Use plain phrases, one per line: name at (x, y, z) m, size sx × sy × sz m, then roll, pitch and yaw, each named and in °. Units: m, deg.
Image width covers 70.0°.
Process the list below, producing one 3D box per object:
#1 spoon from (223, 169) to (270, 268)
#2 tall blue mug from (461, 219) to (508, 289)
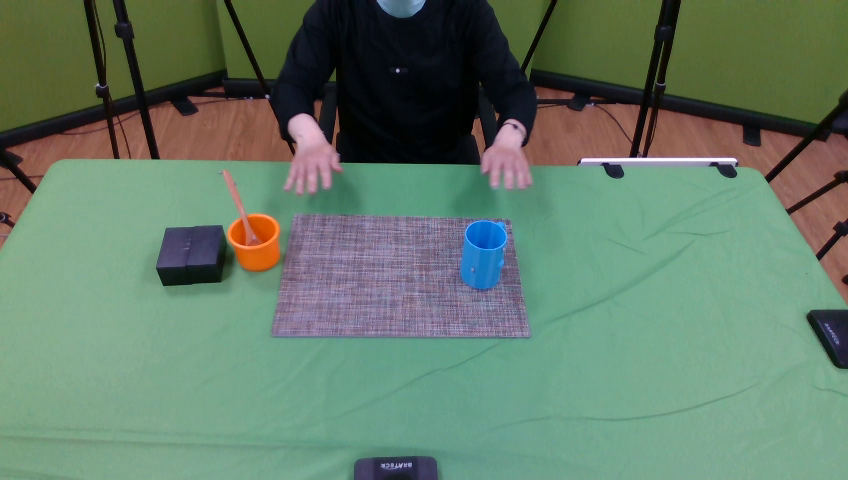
spoon at (-0.332, -0.040, 1.123) m, size 0.041 × 0.194 × 0.021 m, roll -20°, pitch 7°, yaw -15°
tall blue mug at (0.111, 0.015, 1.121) m, size 0.078 × 0.108 × 0.106 m, roll 6°, pitch 46°, yaw 4°
